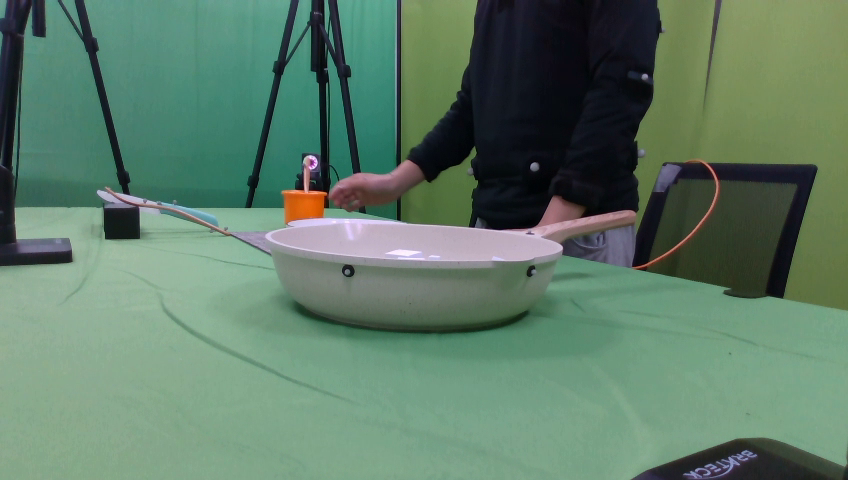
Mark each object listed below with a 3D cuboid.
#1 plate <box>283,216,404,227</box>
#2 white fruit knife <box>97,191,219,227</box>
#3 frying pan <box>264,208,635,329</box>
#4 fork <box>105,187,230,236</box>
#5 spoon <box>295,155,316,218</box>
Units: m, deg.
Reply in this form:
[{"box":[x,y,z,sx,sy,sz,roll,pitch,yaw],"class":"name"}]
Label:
[{"box":[-0.119,-0.009,0.968,0.208,0.039,0.207,3,7,0],"class":"plate"},{"box":[-0.468,-0.056,1.079,0.208,0.027,0.016,15,-2,-29],"class":"white fruit knife"},{"box":[0.075,0.007,0.666,0.490,0.102,0.305,-12,15,-33],"class":"frying pan"},{"box":[-0.428,-0.046,1.020,0.208,0.018,0.028,19,-8,-26],"class":"fork"},{"box":[-0.247,-0.108,1.262,0.042,0.021,0.193,5,46,-16],"class":"spoon"}]
